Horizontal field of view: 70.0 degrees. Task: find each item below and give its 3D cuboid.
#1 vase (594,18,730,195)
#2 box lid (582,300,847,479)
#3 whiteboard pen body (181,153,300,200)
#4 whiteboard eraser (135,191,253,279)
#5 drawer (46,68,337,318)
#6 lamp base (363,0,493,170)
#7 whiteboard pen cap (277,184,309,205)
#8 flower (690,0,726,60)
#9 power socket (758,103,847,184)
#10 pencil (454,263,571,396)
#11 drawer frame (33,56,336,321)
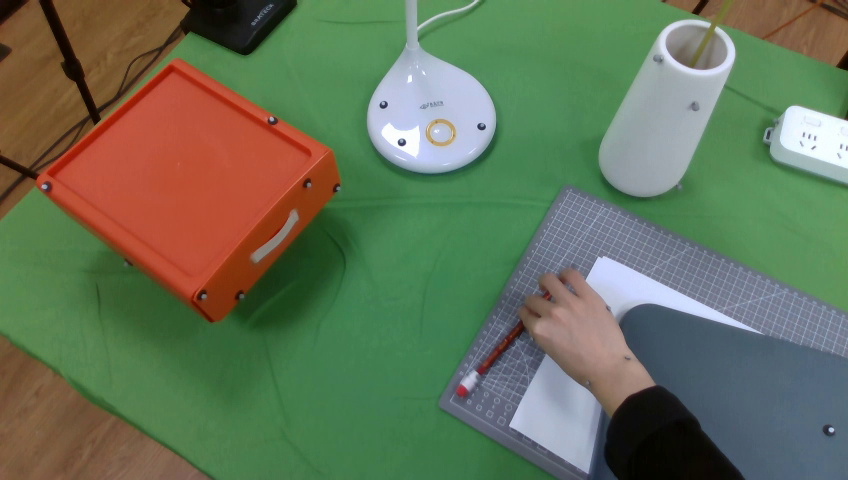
[{"bbox_3d":[0.243,-0.132,0.634,0.098,0.201,0.097,-1,62,2],"label":"vase"},{"bbox_3d":[0.276,0.247,0.548,0.263,0.015,0.369,16,66,9],"label":"box lid"},{"bbox_3d":[-0.197,-0.066,0.649,0.140,0.017,0.017,19,65,8],"label":"whiteboard pen body"},{"bbox_3d":[-0.232,-0.005,0.615,0.112,0.042,0.055,23,59,20],"label":"whiteboard eraser"},{"bbox_3d":[-0.231,-0.057,0.621,0.210,0.074,0.194,31,69,15],"label":"drawer"},{"bbox_3d":[-0.003,-0.199,0.682,0.161,0.182,0.177,-23,62,-10],"label":"lamp base"},{"bbox_3d":[-0.139,-0.048,0.640,0.033,0.018,0.018,17,64,18],"label":"whiteboard pen cap"},{"bbox_3d":[0.256,-0.181,0.566,0.038,0.364,0.043,16,46,2],"label":"flower"},{"bbox_3d":[0.510,-0.097,0.704,0.226,0.033,0.072,22,67,11],"label":"power socket"},{"bbox_3d":[0.096,0.089,0.631,0.012,0.012,0.194,38,68,19],"label":"pencil"},{"bbox_3d":[-0.237,-0.058,0.625,0.212,0.083,0.201,32,69,14],"label":"drawer frame"}]
